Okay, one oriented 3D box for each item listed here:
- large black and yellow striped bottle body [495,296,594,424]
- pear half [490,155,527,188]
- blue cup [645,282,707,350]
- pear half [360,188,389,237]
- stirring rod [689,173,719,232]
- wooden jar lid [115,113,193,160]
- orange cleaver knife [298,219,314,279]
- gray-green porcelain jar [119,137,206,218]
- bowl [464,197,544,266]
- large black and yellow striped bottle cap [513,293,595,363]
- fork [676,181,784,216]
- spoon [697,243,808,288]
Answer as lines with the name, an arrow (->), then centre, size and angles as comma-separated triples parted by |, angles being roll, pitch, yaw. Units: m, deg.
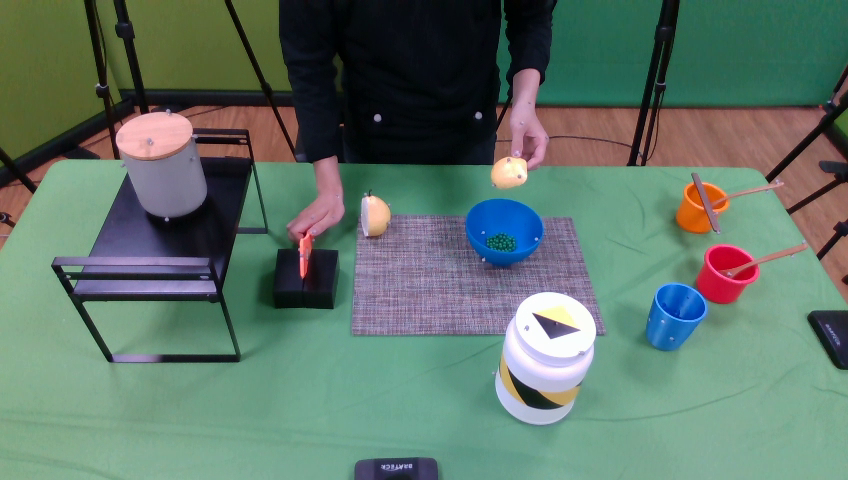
large black and yellow striped bottle body -> 0.183, 0.182, 0.923 | 0.131, 0.185, 0.130 | 2, 46, -2
pear half -> 0.150, -0.128, 1.096 | 0.070, 0.031, 0.087 | -54, 35, 1
blue cup -> 0.425, 0.136, 1.042 | 0.093, 0.101, 0.092 | 1, 45, -1
pear half -> -0.096, -0.060, 1.181 | 0.056, 0.110, 0.076 | -13, 52, -17
stirring rod -> 0.566, -0.079, 1.225 | 0.014, 0.006, 0.175 | 2, 45, 2
wooden jar lid -> -0.399, -0.151, 0.900 | 0.108, 0.021, 0.107 | 3, 46, -3
orange cleaver knife -> -0.219, 0.012, 1.126 | 0.012, 0.077, 0.210 | 0, 16, -4
gray-green porcelain jar -> -0.403, -0.106, 0.946 | 0.106, 0.127, 0.105 | 3, 46, -2
bowl -> 0.149, -0.004, 1.167 | 0.151, 0.077, 0.150 | 3, 46, -2
large black and yellow striped bottle cap -> 0.186, 0.123, 0.863 | 0.115, 0.019, 0.114 | 3, 45, -3
fork -> 0.618, -0.083, 1.235 | 0.207, 0.019, 0.028 | -23, 21, 38
spoon -> 0.601, 0.045, 1.115 | 0.194, 0.022, 0.041 | -29, 35, 30
